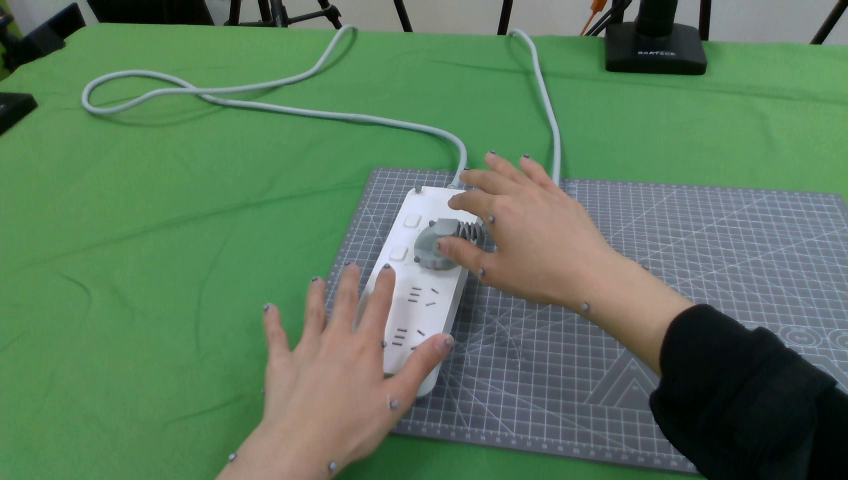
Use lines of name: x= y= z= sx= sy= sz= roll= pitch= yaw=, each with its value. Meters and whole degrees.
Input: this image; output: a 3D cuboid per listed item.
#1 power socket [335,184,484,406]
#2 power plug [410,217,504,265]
power socket: x=-0.005 y=0.029 z=0.489 sx=0.072 sy=0.033 sz=0.225 roll=8 pitch=44 yaw=14
power plug: x=0.023 y=0.010 z=0.474 sx=0.072 sy=0.053 sz=0.035 roll=15 pitch=47 yaw=22
